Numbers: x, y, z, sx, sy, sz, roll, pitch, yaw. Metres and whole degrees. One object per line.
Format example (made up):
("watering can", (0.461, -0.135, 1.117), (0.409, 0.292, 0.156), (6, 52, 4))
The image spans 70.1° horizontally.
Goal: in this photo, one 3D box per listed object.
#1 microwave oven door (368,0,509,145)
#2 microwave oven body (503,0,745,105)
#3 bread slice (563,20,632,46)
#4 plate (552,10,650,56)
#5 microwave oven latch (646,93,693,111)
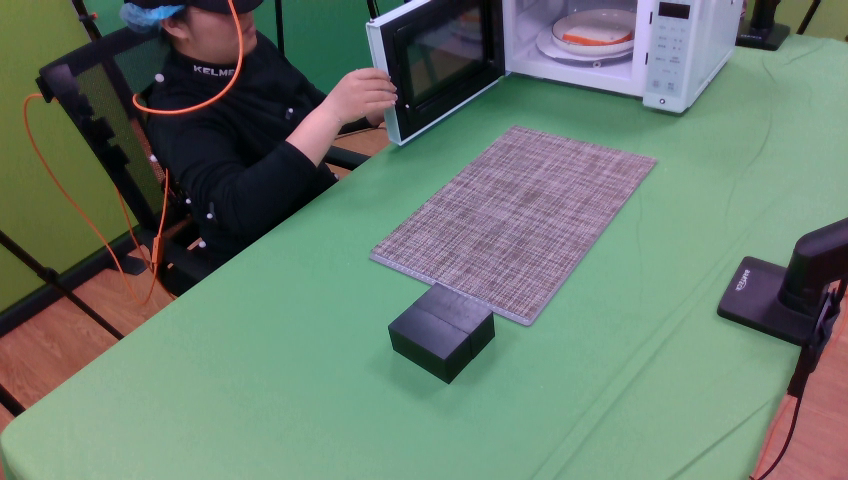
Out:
("microwave oven door", (0.045, -0.383, 1.234), (0.039, 0.245, 0.357), (27, 52, 36))
("microwave oven body", (0.416, -0.486, 1.290), (0.438, 0.261, 0.327), (21, 50, 33))
("bread slice", (0.393, -0.455, 1.342), (0.105, 0.019, 0.130), (-36, 45, -26))
("plate", (0.390, -0.455, 1.340), (0.209, 0.038, 0.208), (-5, 39, 5))
("microwave oven latch", (0.477, -0.273, 1.177), (0.078, 0.029, 0.030), (22, 50, 33))
